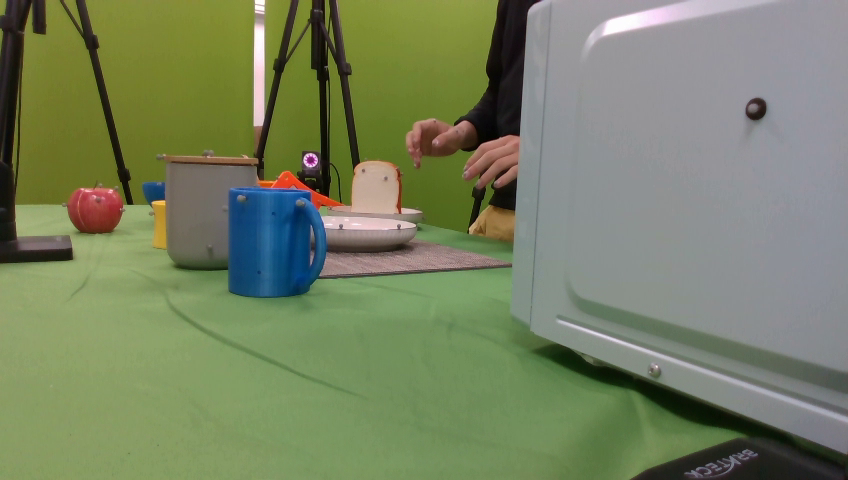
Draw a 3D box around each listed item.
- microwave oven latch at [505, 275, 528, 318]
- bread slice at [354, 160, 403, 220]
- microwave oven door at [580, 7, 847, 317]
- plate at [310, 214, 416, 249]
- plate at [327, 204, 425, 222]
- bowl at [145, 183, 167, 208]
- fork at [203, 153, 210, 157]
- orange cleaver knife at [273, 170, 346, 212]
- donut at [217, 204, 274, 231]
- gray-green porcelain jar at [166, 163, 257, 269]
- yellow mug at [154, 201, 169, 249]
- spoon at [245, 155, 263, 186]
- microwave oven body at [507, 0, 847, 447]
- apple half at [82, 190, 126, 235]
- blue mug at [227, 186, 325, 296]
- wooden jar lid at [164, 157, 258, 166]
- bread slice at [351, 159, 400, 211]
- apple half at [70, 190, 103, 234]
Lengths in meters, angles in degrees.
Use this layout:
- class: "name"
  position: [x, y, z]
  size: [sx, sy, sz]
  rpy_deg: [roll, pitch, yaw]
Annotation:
- class: "microwave oven latch"
  position: [0.100, 0.041, 0.472]
  size: [0.079, 0.029, 0.030]
  rpy_deg: [-2, 8, -30]
- class: "bread slice"
  position: [-0.096, -0.110, 1.324]
  size: [0.105, 0.131, 0.019]
  rpy_deg: [5, 2, 5]
- class: "microwave oven door"
  position: [0.295, -0.067, 0.570]
  size: [0.358, 0.243, 0.039]
  rpy_deg: [-3, 8, -31]
- class: "plate"
  position: [-0.117, -0.014, 0.967]
  size: [0.208, 0.039, 0.207]
  rpy_deg: [2, 7, 0]
- class: "plate"
  position: [-0.102, -0.053, 1.299]
  size: [0.209, 0.038, 0.209]
  rpy_deg: [2, 7, 0]
- class: "bowl"
  position: [-0.459, -0.068, 1.175]
  size: [0.151, 0.077, 0.151]
  rpy_deg: [2, 7, 0]
- class: "fork"
  position: [-0.480, -0.135, 1.411]
  size: [0.028, 0.018, 0.207]
  rpy_deg: [0, -34, -1]
- class: "orange cleaver knife"
  position: [-0.253, -0.089, 1.368]
  size: [0.212, 0.077, 0.012]
  rpy_deg: [26, -8, -42]
- class: "donut"
  position: [-0.318, -0.038, 1.080]
  size: [0.099, 0.048, 0.099]
  rpy_deg: [3, 7, 0]
- class: "gray-green porcelain jar"
  position: [-0.263, -0.031, 0.754]
  size: [0.106, 0.126, 0.106]
  rpy_deg: [2, 7, 0]
- class: "yellow mug"
  position: [-0.338, -0.022, 0.899]
  size: [0.130, 0.064, 0.100]
  rpy_deg: [8, 9, 35]
- class: "spoon"
  position: [-0.421, -0.150, 1.540]
  size: [0.042, 0.021, 0.193]
  rpy_deg: [-5, 55, -37]
- class: "microwave oven body"
  position: [0.331, -0.042, 0.425]
  size: [0.444, 0.260, 0.324]
  rpy_deg: [-2, 8, -31]
- class: "apple half"
  position: [-0.516, -0.046, 0.994]
  size: [0.032, 0.081, 0.081]
  rpy_deg: [0, 6, 26]
- class: "blue mug"
  position: [-0.147, 0.000, 0.618]
  size: [0.116, 0.106, 0.083]
  rpy_deg: [7, 9, 32]
- class: "wooden jar lid"
  position: [-0.261, -0.093, 0.746]
  size: [0.108, 0.020, 0.108]
  rpy_deg: [0, 9, 0]
- class: "bread slice"
  position: [-0.102, -0.104, 1.273]
  size: [0.107, 0.134, 0.018]
  rpy_deg: [-1, 4, 4]
- class: "apple half"
  position: [-0.552, -0.047, 1.009]
  size: [0.053, 0.074, 0.081]
  rpy_deg: [-1, 9, 26]
